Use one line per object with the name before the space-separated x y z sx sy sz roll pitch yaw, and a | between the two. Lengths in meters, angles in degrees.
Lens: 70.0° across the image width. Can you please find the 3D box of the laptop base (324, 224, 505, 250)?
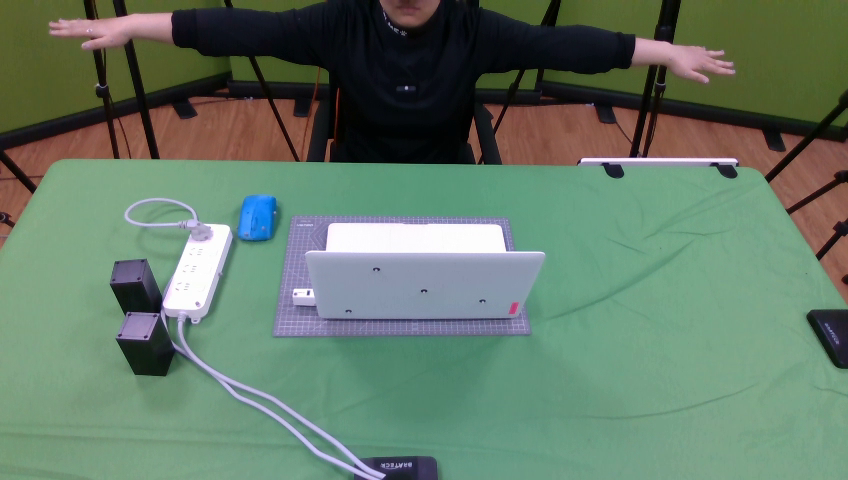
laptop base | -0.014 0.055 1.144 0.355 0.023 0.234 0 42 -4

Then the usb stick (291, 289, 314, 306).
usb stick | -0.203 0.101 1.067 0.059 0.027 0.021 4 46 -5

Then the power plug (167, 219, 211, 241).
power plug | -0.438 -0.017 1.143 0.072 0.053 0.035 10 43 7

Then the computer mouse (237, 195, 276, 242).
computer mouse | -0.333 -0.047 1.207 0.063 0.041 0.116 3 50 -5

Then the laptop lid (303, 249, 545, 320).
laptop lid | -0.003 0.076 0.962 0.357 0.242 0.013 1 58 -5

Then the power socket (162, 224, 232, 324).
power socket | -0.411 0.052 1.106 0.072 0.033 0.225 3 45 -1
